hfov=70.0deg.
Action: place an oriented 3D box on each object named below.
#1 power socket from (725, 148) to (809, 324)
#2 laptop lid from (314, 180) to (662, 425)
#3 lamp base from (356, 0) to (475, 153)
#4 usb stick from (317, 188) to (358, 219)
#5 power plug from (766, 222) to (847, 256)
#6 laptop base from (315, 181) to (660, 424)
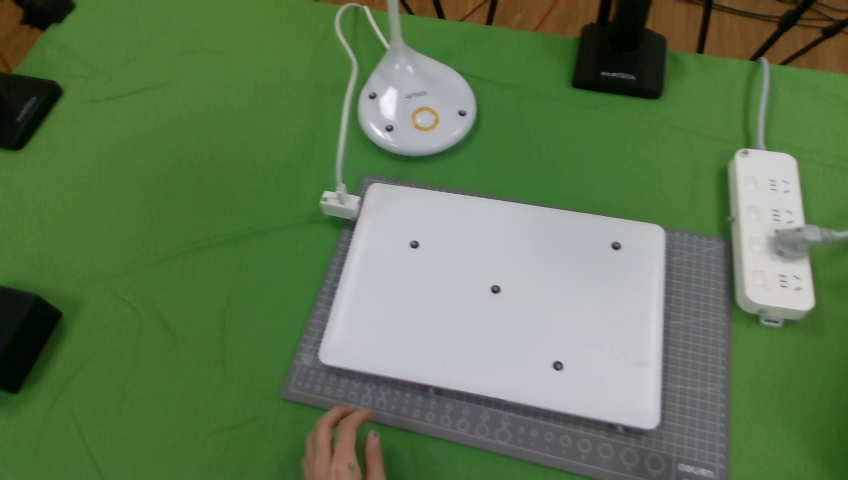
[{"bbox_3d":[0.388,-0.014,0.693,0.072,0.033,0.225,10,61,7],"label":"power socket"},{"bbox_3d":[0.075,0.054,0.666,0.356,0.013,0.240,11,64,9],"label":"laptop lid"},{"bbox_3d":[-0.022,-0.230,0.754,0.161,0.182,0.177,-23,59,-10],"label":"lamp base"},{"bbox_3d":[-0.097,-0.043,0.729,0.059,0.027,0.021,14,57,7],"label":"usb stick"},{"bbox_3d":[0.410,0.006,0.654,0.072,0.053,0.035,19,62,12],"label":"power plug"},{"bbox_3d":[0.077,0.058,0.677,0.353,0.023,0.234,9,65,8],"label":"laptop base"}]
